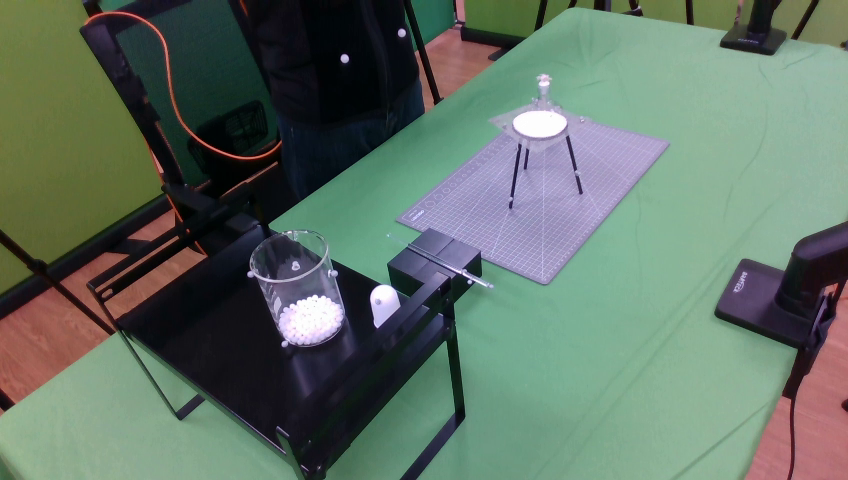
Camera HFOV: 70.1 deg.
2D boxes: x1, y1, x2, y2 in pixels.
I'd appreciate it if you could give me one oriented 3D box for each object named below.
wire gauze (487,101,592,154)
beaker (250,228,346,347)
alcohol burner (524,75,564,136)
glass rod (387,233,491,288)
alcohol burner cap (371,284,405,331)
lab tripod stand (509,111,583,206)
[{"bbox_3d":[0.185,-0.188,0.974,0.122,0.011,0.124,-27,44,-23],"label":"wire gauze"},{"bbox_3d":[-0.120,0.048,0.598,0.074,0.101,0.083,-9,40,-1],"label":"beaker"},{"bbox_3d":[0.232,-0.263,1.175,0.078,0.119,0.077,-6,39,5],"label":"alcohol burner"},{"bbox_3d":[0.017,0.027,0.877,0.198,0.008,0.008,26,51,34],"label":"glass rod"},{"bbox_3d":[-0.037,0.066,0.608,0.034,0.048,0.033,-4,42,4],"label":"alcohol burner cap"},{"bbox_3d":[0.197,-0.139,1.020,0.148,0.132,0.147,-3,39,3],"label":"lab tripod stand"}]
